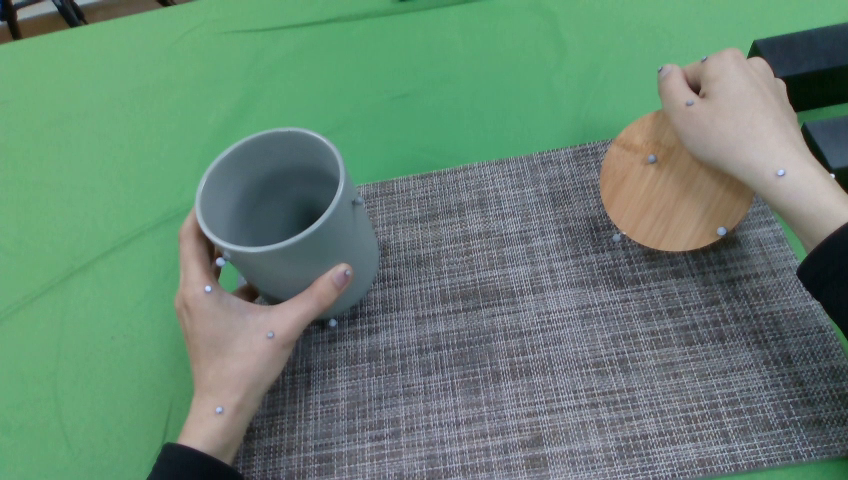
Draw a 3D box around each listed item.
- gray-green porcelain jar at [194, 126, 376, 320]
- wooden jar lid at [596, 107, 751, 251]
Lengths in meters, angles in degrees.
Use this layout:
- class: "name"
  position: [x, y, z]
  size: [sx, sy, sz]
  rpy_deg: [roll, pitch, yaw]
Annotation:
- class: "gray-green porcelain jar"
  position: [-0.097, -0.005, 0.462]
  size: [0.106, 0.128, 0.105]
  rpy_deg: [-4, 57, 7]
- class: "wooden jar lid"
  position: [0.187, -0.046, 0.459]
  size: [0.108, 0.021, 0.108]
  rpy_deg: [0, 90, 20]
